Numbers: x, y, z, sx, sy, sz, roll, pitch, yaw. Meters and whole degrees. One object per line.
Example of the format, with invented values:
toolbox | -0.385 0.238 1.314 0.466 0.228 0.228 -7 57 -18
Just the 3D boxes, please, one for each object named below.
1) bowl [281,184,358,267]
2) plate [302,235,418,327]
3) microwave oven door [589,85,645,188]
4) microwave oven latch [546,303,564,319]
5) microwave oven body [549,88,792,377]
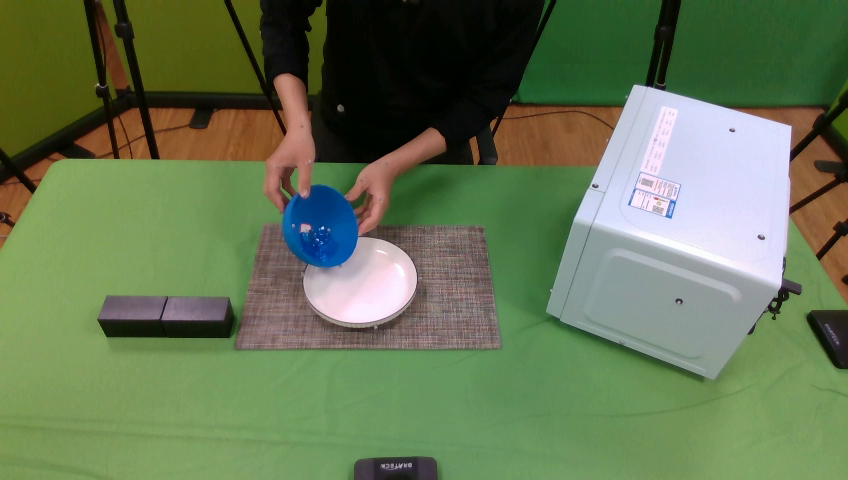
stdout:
bowl | -0.201 -0.019 1.084 0.076 0.152 0.151 -14 31 42
plate | -0.115 0.076 1.098 0.208 0.039 0.206 2 46 -2
microwave oven door | 0.342 -0.107 1.149 0.039 0.245 0.354 20 48 15
microwave oven latch | 0.242 0.102 1.081 0.030 0.029 0.079 21 48 17
microwave oven body | 0.456 -0.028 1.088 0.325 0.261 0.440 20 47 16
